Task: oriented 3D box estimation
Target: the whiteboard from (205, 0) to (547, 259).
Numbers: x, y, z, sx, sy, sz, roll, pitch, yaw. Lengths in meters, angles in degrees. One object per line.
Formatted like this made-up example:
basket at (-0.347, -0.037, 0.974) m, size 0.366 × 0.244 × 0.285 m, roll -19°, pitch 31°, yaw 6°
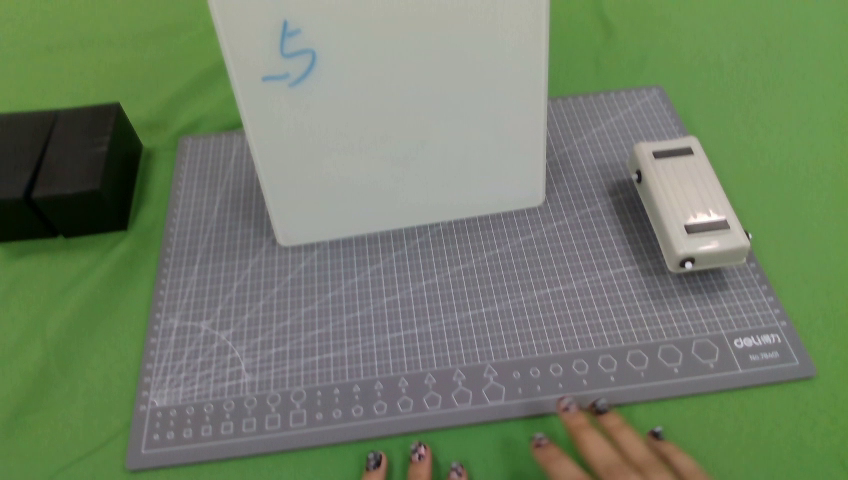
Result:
whiteboard at (-0.031, -0.166, 0.452) m, size 0.217 × 0.308 × 0.142 m, roll -9°, pitch 33°, yaw -4°

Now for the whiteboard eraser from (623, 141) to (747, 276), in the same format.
whiteboard eraser at (0.195, -0.024, 0.462) m, size 0.055 × 0.042 × 0.111 m, roll -6°, pitch 53°, yaw -2°
